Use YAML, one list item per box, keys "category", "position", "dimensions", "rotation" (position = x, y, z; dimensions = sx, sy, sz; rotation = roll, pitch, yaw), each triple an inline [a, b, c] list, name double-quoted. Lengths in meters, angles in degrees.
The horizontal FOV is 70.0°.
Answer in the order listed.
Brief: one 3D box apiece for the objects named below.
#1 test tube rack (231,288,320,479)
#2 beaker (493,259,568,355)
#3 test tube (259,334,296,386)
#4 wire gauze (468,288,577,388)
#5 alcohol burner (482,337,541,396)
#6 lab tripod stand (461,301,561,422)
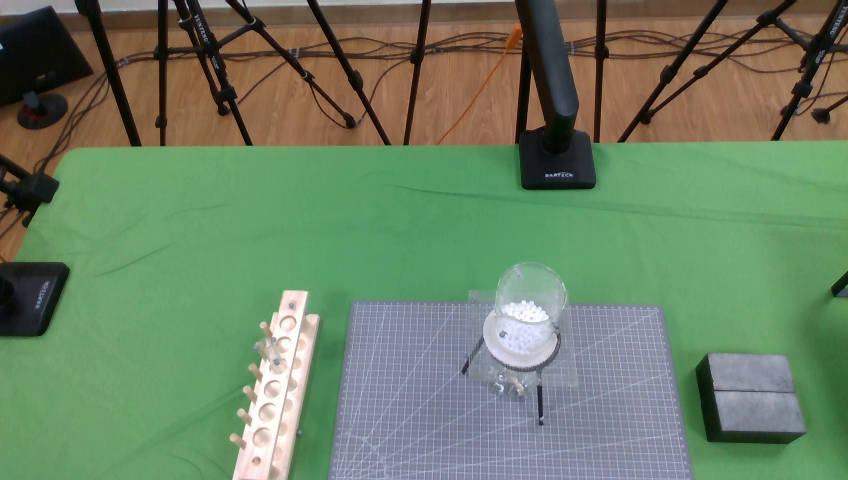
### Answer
- category: "test tube rack"
  position: [-0.197, 0.188, 0.787]
  dimensions: [0.067, 0.086, 0.240]
  rotation: [3, 58, 5]
- category: "beaker"
  position: [0.112, 0.081, 0.672]
  dimensions: [0.084, 0.101, 0.073]
  rotation: [-28, 60, -15]
- category: "test tube"
  position: [-0.179, 0.152, 0.750]
  dimensions: [0.017, 0.151, 0.017]
  rotation: [0, 59, 0]
- category: "wire gauze"
  position: [0.113, 0.110, 0.710]
  dimensions: [0.125, 0.011, 0.120]
  rotation: [3, 58, 2]
- category: "alcohol burner"
  position: [0.114, 0.154, 0.773]
  dimensions: [0.078, 0.120, 0.077]
  rotation: [0, 57, 1]
- category: "lab tripod stand"
  position: [0.120, 0.143, 0.768]
  dimensions: [0.148, 0.132, 0.147]
  rotation: [-2, 55, 3]
